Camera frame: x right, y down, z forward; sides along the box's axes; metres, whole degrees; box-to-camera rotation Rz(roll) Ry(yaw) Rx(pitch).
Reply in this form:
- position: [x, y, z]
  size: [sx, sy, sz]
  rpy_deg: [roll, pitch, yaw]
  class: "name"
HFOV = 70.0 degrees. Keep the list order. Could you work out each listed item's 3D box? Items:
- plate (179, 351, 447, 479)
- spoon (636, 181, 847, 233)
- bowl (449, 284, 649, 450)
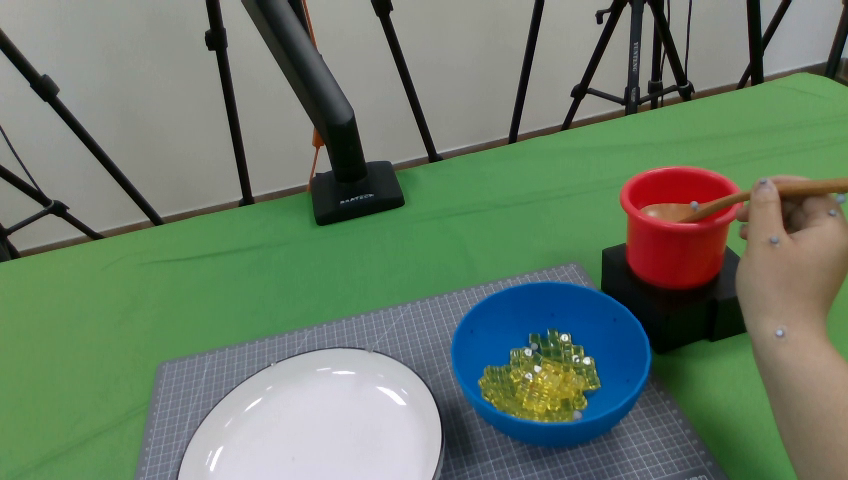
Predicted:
- position: [-0.083, 0.175, 0.478]
  size: [0.207, 0.039, 0.205]
  rpy_deg: [-6, 35, 5]
  class: "plate"
- position: [0.240, -0.027, 0.453]
  size: [0.041, 0.022, 0.193]
  rpy_deg: [-34, 9, -27]
  class: "spoon"
- position: [0.099, 0.113, 0.485]
  size: [0.151, 0.077, 0.150]
  rpy_deg: [-6, 36, 5]
  class: "bowl"
